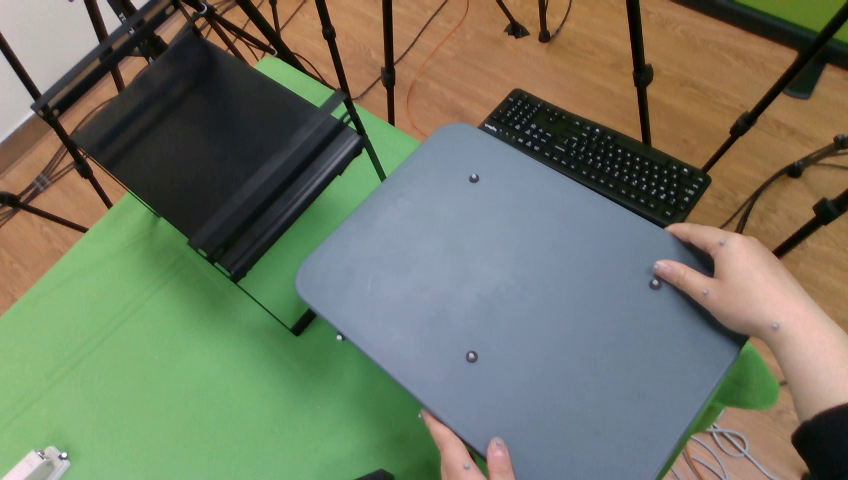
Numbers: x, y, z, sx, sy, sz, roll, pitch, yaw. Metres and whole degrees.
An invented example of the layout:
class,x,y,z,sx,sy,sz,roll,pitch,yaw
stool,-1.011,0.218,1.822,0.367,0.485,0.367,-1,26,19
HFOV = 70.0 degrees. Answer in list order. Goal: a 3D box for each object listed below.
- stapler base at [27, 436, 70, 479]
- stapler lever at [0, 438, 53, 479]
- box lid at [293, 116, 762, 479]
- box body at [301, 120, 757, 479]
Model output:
class,x,y,z,sx,sy,sz,roll,pitch,yaw
stapler base,-0.485,0.297,0.720,0.041,0.024,0.130,30,71,20
stapler lever,-0.489,0.285,0.700,0.026,0.040,0.118,30,72,20
box lid,0.076,0.039,0.558,0.368,0.015,0.263,35,72,26
box body,0.096,0.078,0.632,0.361,0.162,0.253,34,75,24
